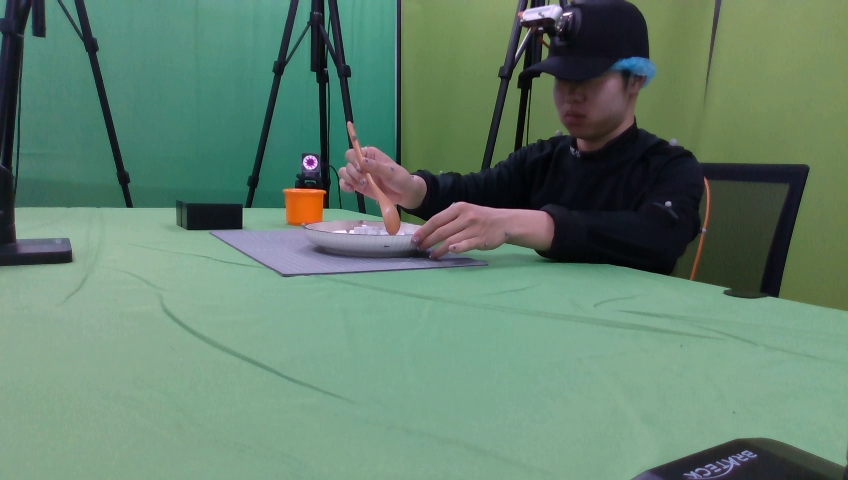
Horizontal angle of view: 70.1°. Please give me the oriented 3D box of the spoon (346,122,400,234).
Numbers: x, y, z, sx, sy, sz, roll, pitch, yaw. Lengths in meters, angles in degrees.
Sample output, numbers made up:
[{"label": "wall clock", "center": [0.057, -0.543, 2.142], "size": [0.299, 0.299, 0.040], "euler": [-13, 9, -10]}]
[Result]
[{"label": "spoon", "center": [-0.081, -0.095, 0.913], "size": [0.021, 0.193, 0.042], "euler": [-34, -15, 29]}]

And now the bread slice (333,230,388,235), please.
[{"label": "bread slice", "center": [-0.088, 0.000, 0.947], "size": [0.105, 0.019, 0.131], "euler": [-4, 10, -44]}]

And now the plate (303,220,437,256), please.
[{"label": "plate", "center": [-0.084, -0.003, 0.951], "size": [0.209, 0.038, 0.209], "euler": [3, 7, 0]}]
